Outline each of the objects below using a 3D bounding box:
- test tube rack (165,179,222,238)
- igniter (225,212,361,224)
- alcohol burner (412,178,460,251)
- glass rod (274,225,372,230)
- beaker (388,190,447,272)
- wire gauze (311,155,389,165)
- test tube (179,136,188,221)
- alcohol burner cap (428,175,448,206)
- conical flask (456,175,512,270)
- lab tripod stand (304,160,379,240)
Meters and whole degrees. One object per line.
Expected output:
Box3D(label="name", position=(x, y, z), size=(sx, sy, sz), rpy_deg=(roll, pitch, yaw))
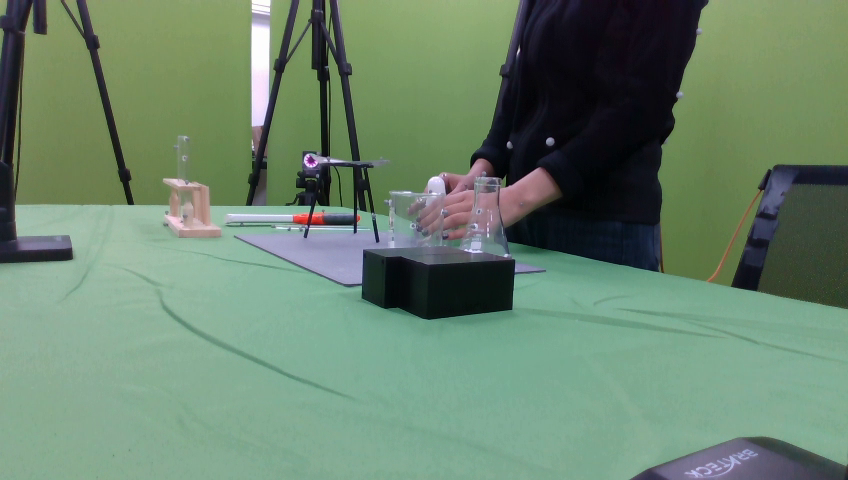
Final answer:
Box3D(label="test tube rack", position=(-0.423, -0.062, 1.098), size=(0.067, 0.085, 0.241), rpy_deg=(-2, 9, -28))
Box3D(label="igniter", position=(-0.262, -0.044, 1.240), size=(0.278, 0.025, 0.057), rpy_deg=(-2, -1, -31))
Box3D(label="alcohol burner", position=(0.020, -0.043, 0.959), size=(0.078, 0.119, 0.078), rpy_deg=(4, 9, 0))
Box3D(label="glass rod", position=(-0.193, -0.024, 1.176), size=(0.201, 0.008, 0.008), rpy_deg=(1, 7, -31))
Box3D(label="beaker", position=(-0.010, -0.013, 0.771), size=(0.074, 0.100, 0.084), rpy_deg=(3, 7, 4))
Box3D(label="wire gauze", position=(-0.128, -0.137, 1.042), size=(0.122, 0.011, 0.124), rpy_deg=(1, 8, -18))
Box3D(label="test tube", position=(-0.425, -0.108, 1.070), size=(0.017, 0.150, 0.017), rpy_deg=(4, 9, 0))
Box3D(label="alcohol burner cap", position=(0.020, -0.079, 0.954), size=(0.034, 0.048, 0.034), rpy_deg=(-5, 9, 1))
Box3D(label="conical flask", position=(0.082, -0.025, 0.801), size=(0.075, 0.122, 0.075), rpy_deg=(2, 7, 0))
Box3D(label="lab tripod stand", position=(-0.131, -0.071, 1.046), size=(0.148, 0.131, 0.148), rpy_deg=(4, 7, 0))
